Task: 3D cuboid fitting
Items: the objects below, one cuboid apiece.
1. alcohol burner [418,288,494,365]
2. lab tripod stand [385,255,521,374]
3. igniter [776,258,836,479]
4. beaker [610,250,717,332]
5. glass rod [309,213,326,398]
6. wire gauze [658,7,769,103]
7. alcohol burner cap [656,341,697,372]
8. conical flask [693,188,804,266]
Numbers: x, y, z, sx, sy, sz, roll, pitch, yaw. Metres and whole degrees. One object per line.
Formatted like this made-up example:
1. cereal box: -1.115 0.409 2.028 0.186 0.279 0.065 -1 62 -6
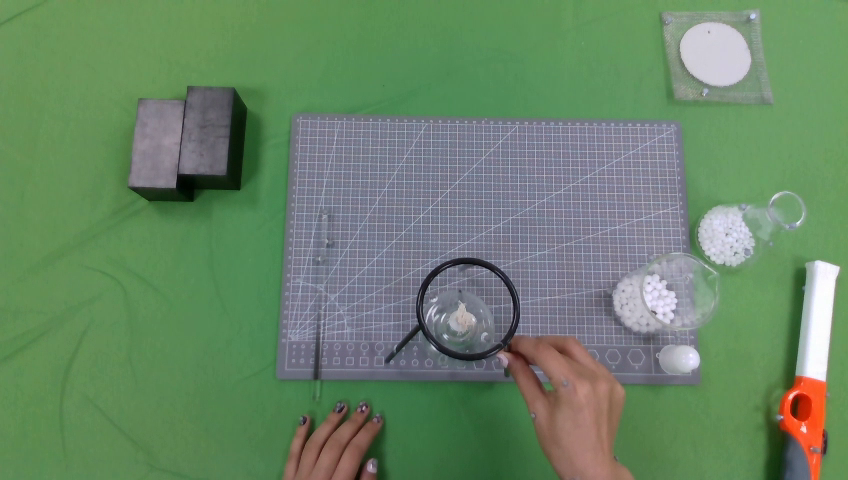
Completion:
1. alcohol burner: 0.032 0.083 0.598 0.078 0.119 0.077 0 77 1
2. lab tripod stand: 0.031 0.078 0.575 0.148 0.132 0.147 1 74 -3
3. igniter: 0.403 0.153 0.639 0.057 0.025 0.275 16 78 -8
4. beaker: 0.239 0.055 0.616 0.084 0.100 0.073 -22 79 -6
5. glass rod: -0.113 0.068 0.651 0.008 0.008 0.199 2 81 -1
6. wire gauze: 0.348 -0.223 0.725 0.125 0.011 0.121 0 79 -3
7. alcohol burner cap: 0.266 0.121 0.632 0.034 0.048 0.033 0 78 -1
8. conical flask: 0.337 -0.019 0.624 0.075 0.122 0.075 0 78 0
